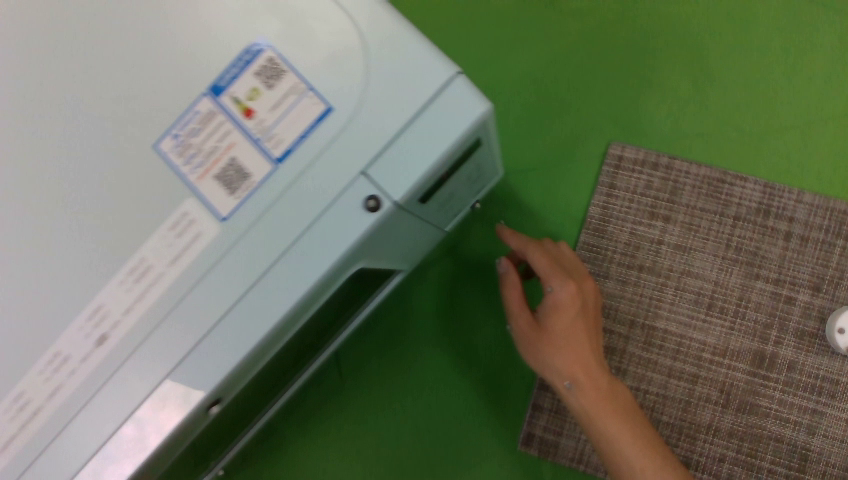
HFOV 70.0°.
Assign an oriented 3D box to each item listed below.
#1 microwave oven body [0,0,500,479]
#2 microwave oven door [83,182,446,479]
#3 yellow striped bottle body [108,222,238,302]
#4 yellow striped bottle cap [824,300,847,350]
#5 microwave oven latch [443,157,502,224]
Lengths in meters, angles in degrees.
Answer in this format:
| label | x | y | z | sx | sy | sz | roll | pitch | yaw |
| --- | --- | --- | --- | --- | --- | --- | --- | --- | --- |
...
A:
| label | x | y | z | sx | sy | sz | roll | pitch | yaw |
| --- | --- | --- | --- | --- | --- | --- | --- | --- | --- |
| microwave oven body | -0.206 | -0.029 | 0.494 | 0.325 | 0.261 | 0.442 | 44 | 95 | 8 |
| microwave oven door | -0.131 | 0.102 | 0.473 | 0.039 | 0.244 | 0.356 | 44 | 95 | 10 |
| yellow striped bottle body | -0.206 | 0.019 | 0.499 | 0.063 | 0.120 | 0.062 | 0 | 87 | 5 |
| yellow striped bottle cap | 0.372 | 0.074 | 0.521 | 0.044 | 0.019 | 0.044 | 0 | 88 | 11 |
| microwave oven latch | 0.037 | -0.051 | 0.554 | 0.079 | 0.029 | 0.030 | -45 | 82 | 6 |
